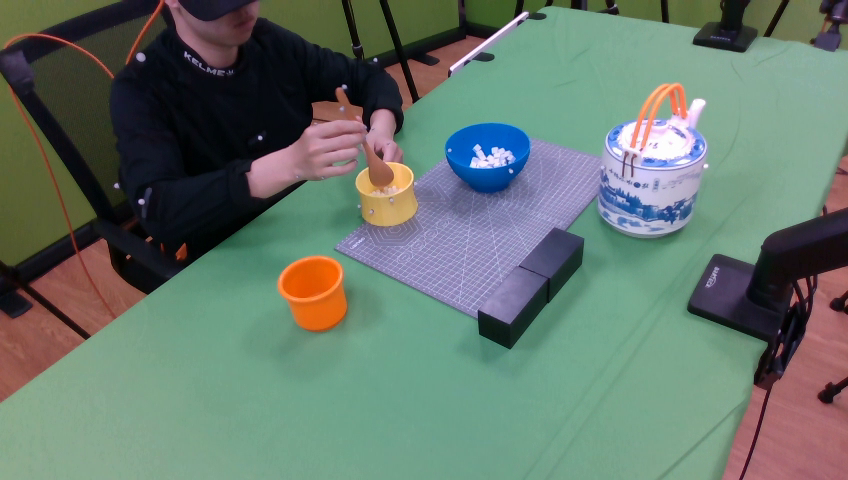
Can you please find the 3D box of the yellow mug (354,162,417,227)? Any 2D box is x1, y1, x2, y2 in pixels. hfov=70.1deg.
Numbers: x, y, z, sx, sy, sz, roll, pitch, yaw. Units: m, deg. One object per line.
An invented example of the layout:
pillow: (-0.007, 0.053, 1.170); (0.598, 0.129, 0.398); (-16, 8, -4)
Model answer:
yellow mug: (-0.071, -0.088, 1.042); (0.100, 0.064, 0.129); (-19, 43, -14)

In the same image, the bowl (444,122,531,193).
bowl: (0.113, -0.136, 1.064); (0.151, 0.077, 0.150); (-4, 41, 4)

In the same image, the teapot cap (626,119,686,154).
teapot cap: (0.338, -0.153, 0.882); (0.085, 0.044, 0.085); (-3, 38, 3)

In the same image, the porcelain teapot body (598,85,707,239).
porcelain teapot body: (0.362, -0.137, 0.921); (0.144, 0.226, 0.206); (29, 51, 36)

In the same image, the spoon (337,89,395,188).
spoon: (-0.093, -0.152, 0.936); (0.041, 0.195, 0.021); (-26, 39, 1)
